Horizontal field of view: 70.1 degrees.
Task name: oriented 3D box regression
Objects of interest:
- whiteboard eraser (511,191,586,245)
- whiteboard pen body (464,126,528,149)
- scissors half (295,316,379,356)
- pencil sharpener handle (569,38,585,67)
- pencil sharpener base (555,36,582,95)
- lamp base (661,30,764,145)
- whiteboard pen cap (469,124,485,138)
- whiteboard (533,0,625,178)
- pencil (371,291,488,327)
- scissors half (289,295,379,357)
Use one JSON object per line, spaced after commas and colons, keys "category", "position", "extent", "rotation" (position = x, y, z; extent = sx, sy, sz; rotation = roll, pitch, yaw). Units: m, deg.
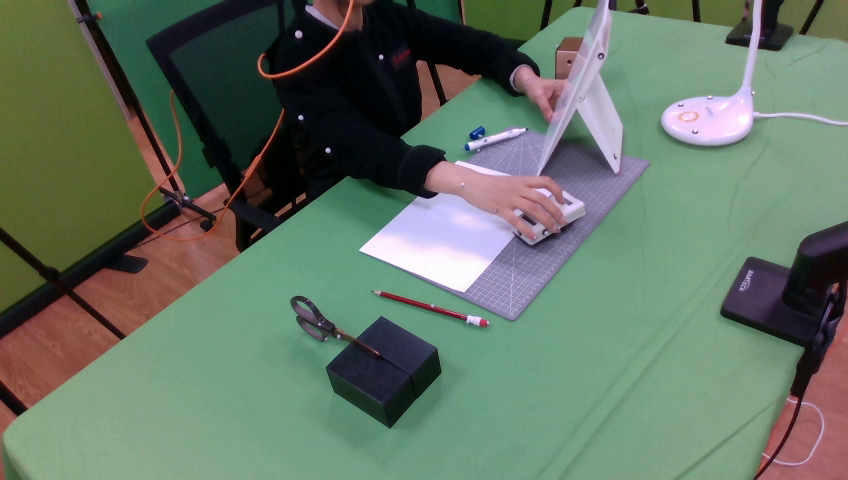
{"category": "whiteboard eraser", "position": [0.198, -0.033, 0.961], "extent": [0.113, 0.042, 0.055], "rotation": [-29, 41, -17]}
{"category": "whiteboard pen body", "position": [0.144, -0.204, 1.192], "extent": [0.141, 0.017, 0.017], "rotation": [-19, 41, -15]}
{"category": "scissors half", "position": [-0.119, 0.131, 0.813], "extent": [0.173, 0.040, 0.013], "rotation": [9, 34, 45]}
{"category": "pencil sharpener handle", "position": [0.332, -0.413, 1.317], "extent": [0.036, 0.068, 0.030], "rotation": [19, 47, 13]}
{"category": "pencil sharpener base", "position": [0.318, -0.371, 1.290], "extent": [0.061, 0.107, 0.076], "rotation": [10, 44, 22]}
{"category": "lamp base", "position": [0.535, -0.287, 1.096], "extent": [0.179, 0.181, 0.159], "rotation": [-10, 40, -4]}
{"category": "whiteboard pen cap", "position": [0.107, -0.220, 1.224], "extent": [0.033, 0.018, 0.018], "rotation": [-37, 48, -24]}
{"category": "whiteboard", "position": [0.320, -0.258, 1.049], "extent": [0.144, 0.306, 0.217], "rotation": [20, 45, 4]}
{"category": "pencil", "position": [0.003, 0.097, 0.877], "extent": [0.193, 0.012, 0.012], "rotation": [13, 45, 26]}
{"category": "scissors half", "position": [-0.122, 0.114, 0.803], "extent": [0.174, 0.040, 0.013], "rotation": [26, 50, 32]}
